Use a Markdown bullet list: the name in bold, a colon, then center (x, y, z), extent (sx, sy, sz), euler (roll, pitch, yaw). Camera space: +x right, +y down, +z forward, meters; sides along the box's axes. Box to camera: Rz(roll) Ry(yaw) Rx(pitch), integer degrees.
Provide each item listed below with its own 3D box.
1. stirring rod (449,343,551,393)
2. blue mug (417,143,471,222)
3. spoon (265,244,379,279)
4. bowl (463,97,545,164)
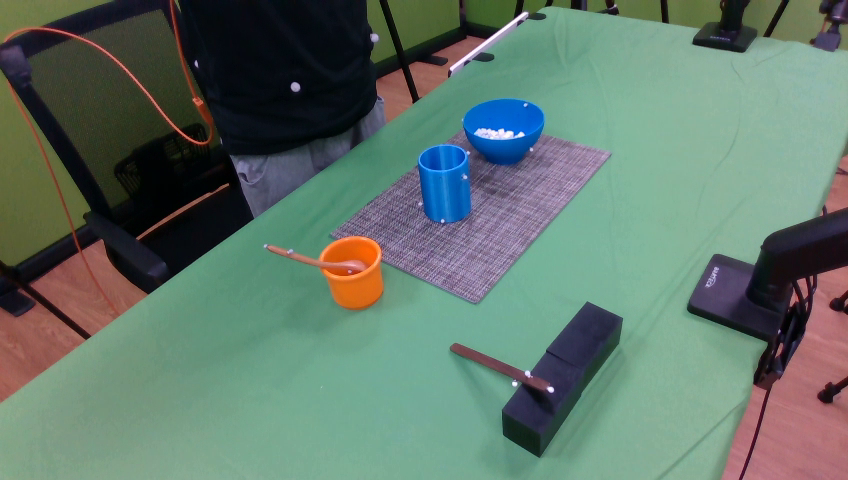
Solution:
- **stirring rod**: center (0.088, 0.154, 0.741), extent (0.014, 0.006, 0.174), euler (-39, 28, -25)
- **blue mug**: center (0.031, -0.104, 1.014), extent (0.082, 0.106, 0.115), euler (-14, 41, -7)
- **spoon**: center (-0.137, 0.031, 0.846), extent (0.195, 0.021, 0.041), euler (13, 16, -45)
- **bowl**: center (0.149, -0.195, 1.123), extent (0.151, 0.077, 0.150), euler (-4, 41, 4)
